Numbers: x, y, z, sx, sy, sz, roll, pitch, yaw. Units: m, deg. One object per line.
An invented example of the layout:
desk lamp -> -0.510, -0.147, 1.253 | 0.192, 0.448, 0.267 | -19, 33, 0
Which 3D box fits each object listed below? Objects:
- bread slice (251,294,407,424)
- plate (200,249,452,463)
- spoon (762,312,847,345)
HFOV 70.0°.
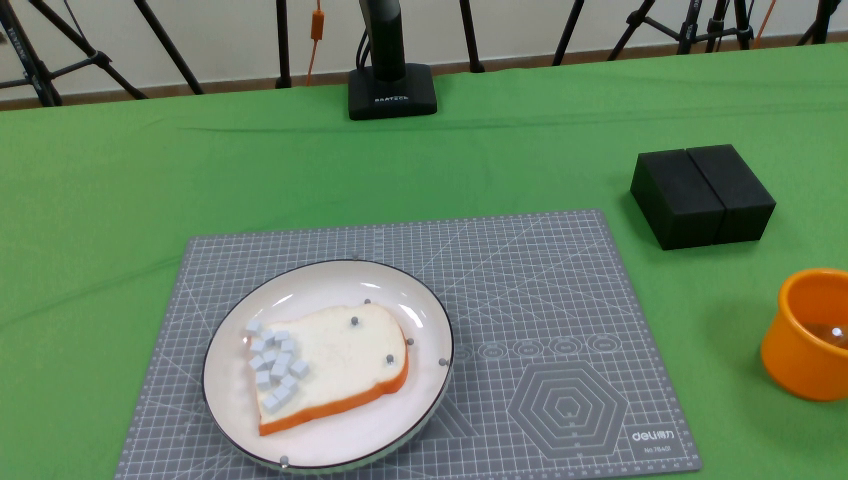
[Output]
bread slice -> -0.082, 0.092, 0.522 | 0.132, 0.019, 0.103 | -15, 47, -10
plate -> -0.080, 0.094, 0.516 | 0.209, 0.038, 0.207 | -1, 46, 1
spoon -> 0.354, 0.056, 0.455 | 0.041, 0.193, 0.022 | -41, 100, -36
